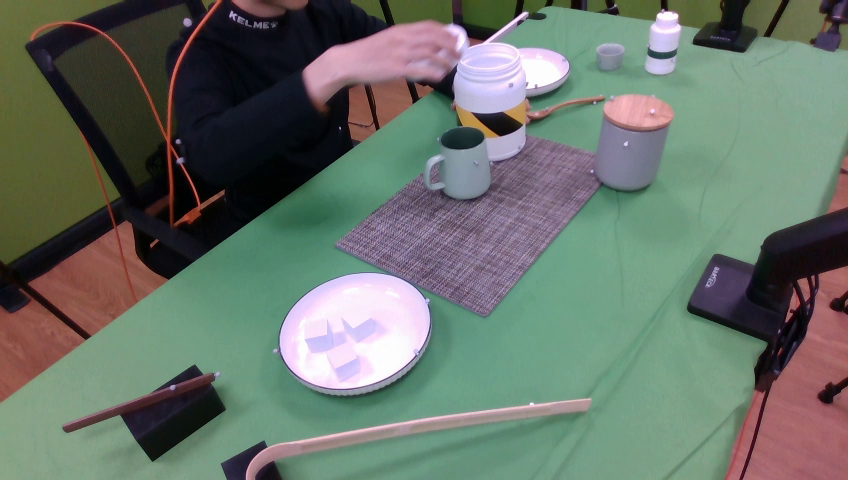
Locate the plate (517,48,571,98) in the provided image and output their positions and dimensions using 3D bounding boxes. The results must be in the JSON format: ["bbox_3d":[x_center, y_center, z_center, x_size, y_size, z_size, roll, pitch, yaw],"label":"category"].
[{"bbox_3d":[0.223,-0.371,1.357,0.209,0.038,0.208,-4,41,4],"label":"plate"}]

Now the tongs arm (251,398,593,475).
[{"bbox_3d":[0.008,0.212,0.675,0.389,0.028,0.028,-5,46,-11],"label":"tongs arm"}]

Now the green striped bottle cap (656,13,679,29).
[{"bbox_3d":[0.515,-0.463,1.278,0.044,0.020,0.044,-5,41,5],"label":"green striped bottle cap"}]

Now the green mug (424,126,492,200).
[{"bbox_3d":[0.055,-0.125,1.039,0.126,0.105,0.091,-26,44,-20],"label":"green mug"}]

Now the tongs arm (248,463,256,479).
[{"bbox_3d":[0.012,0.262,0.615,0.385,0.026,0.050,2,42,-2],"label":"tongs arm"}]

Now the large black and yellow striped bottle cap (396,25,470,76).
[{"bbox_3d":[0.013,-0.289,0.917,0.115,0.019,0.114,-13,43,13],"label":"large black and yellow striped bottle cap"}]

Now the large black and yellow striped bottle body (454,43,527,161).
[{"bbox_3d":[0.124,-0.254,1.117,0.131,0.185,0.130,-4,41,4],"label":"large black and yellow striped bottle body"}]

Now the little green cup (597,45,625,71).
[{"bbox_3d":[0.423,-0.413,1.376,0.061,0.039,0.061,-3,41,3],"label":"little green cup"}]

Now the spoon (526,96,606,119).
[{"bbox_3d":[0.291,-0.277,1.249,0.194,0.022,0.041,-17,26,-11],"label":"spoon"}]

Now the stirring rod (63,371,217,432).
[{"bbox_3d":[-0.337,0.192,0.723,0.177,0.014,0.005,-18,42,-12],"label":"stirring rod"}]

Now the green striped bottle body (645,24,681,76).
[{"bbox_3d":[0.520,-0.424,1.312,0.063,0.120,0.063,-4,40,4],"label":"green striped bottle body"}]

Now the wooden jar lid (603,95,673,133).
[{"bbox_3d":[0.343,-0.200,0.973,0.108,0.021,0.108,-1,39,2],"label":"wooden jar lid"}]

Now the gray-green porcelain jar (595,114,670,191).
[{"bbox_3d":[0.346,-0.155,1.017,0.106,0.127,0.105,-2,44,2],"label":"gray-green porcelain jar"}]

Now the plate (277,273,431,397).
[{"bbox_3d":[-0.091,0.129,0.820,0.207,0.039,0.206,-4,40,4],"label":"plate"}]
